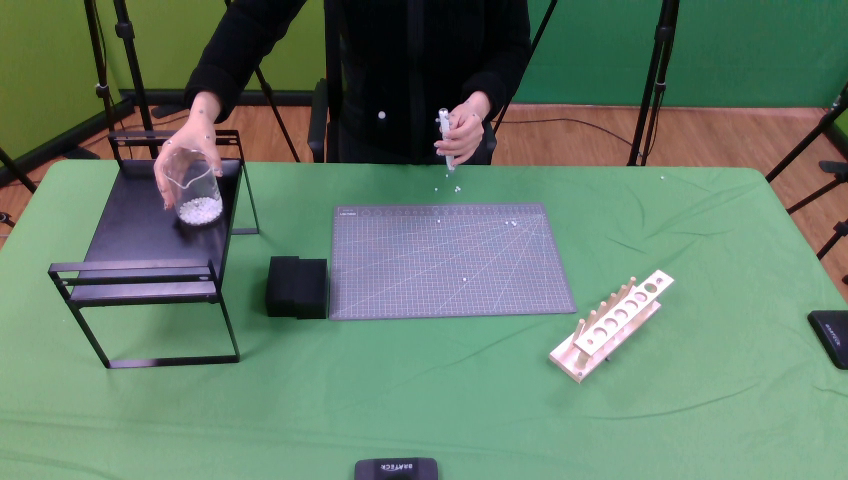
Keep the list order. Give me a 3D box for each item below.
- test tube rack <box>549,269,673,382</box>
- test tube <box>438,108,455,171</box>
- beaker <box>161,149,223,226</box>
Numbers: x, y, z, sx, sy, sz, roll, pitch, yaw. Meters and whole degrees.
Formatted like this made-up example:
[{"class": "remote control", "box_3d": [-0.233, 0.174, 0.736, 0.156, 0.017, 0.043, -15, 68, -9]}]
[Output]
[{"class": "test tube rack", "box_3d": [0.325, 0.134, 1.047, 0.242, 0.085, 0.066, -32, 56, -30]}, {"class": "test tube", "box_3d": [0.040, -0.170, 1.043, 0.017, 0.151, 0.017, -4, 57, 6]}, {"class": "beaker", "box_3d": [-0.357, -0.077, 0.942, 0.074, 0.101, 0.083, -4, 47, -7]}]
